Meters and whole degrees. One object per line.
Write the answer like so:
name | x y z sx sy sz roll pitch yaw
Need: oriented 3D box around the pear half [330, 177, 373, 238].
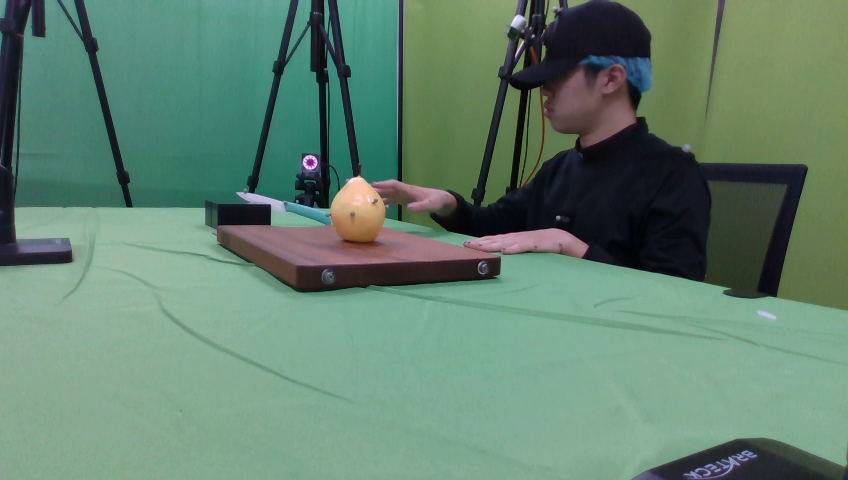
pear half | -0.109 -0.047 0.866 0.031 0.088 0.071 8 12 43

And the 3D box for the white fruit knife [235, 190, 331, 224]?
white fruit knife | -0.286 -0.070 1.245 0.208 0.027 0.016 15 -4 -30

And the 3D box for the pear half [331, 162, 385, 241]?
pear half | -0.085 -0.052 0.839 0.055 0.110 0.077 10 14 42
